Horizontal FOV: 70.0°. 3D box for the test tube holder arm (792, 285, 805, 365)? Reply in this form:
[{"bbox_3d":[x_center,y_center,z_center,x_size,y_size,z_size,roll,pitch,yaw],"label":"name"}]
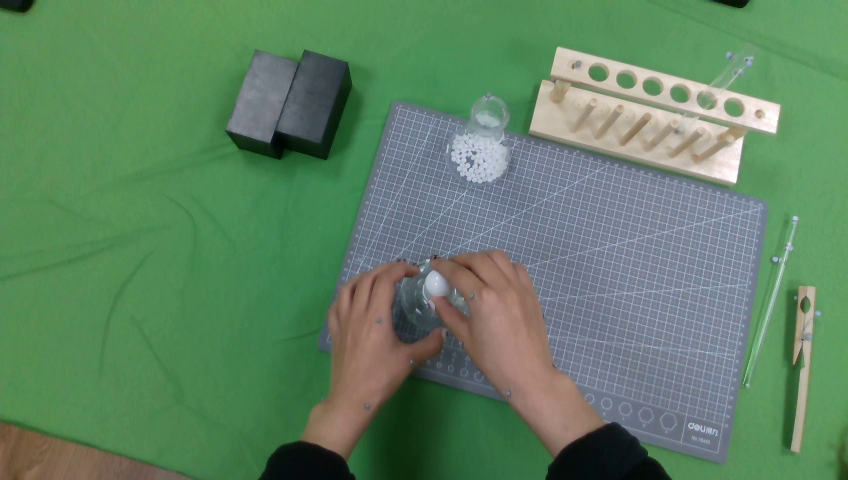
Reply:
[{"bbox_3d":[0.413,0.094,0.667,0.010,0.015,0.087,1,76,36],"label":"test tube holder arm"}]

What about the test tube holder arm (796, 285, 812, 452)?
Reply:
[{"bbox_3d":[0.410,0.137,0.654,0.013,0.015,0.177,0,75,36],"label":"test tube holder arm"}]

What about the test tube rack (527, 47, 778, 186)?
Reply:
[{"bbox_3d":[0.247,-0.134,0.673,0.242,0.085,0.066,15,78,1],"label":"test tube rack"}]

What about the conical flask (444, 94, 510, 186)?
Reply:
[{"bbox_3d":[0.061,-0.109,0.639,0.075,0.122,0.075,0,78,-2],"label":"conical flask"}]

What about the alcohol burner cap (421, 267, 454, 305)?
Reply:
[{"bbox_3d":[0.013,0.042,0.574,0.034,0.048,0.033,0,72,0],"label":"alcohol burner cap"}]

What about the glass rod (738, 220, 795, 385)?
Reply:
[{"bbox_3d":[0.382,0.067,0.674,0.008,0.008,0.199,22,81,3],"label":"glass rod"}]

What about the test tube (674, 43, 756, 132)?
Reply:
[{"bbox_3d":[0.296,-0.153,0.628,0.017,0.151,0.017,1,72,-2],"label":"test tube"}]

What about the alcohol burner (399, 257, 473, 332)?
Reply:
[{"bbox_3d":[0.012,0.052,0.609,0.078,0.119,0.077,0,76,0],"label":"alcohol burner"}]
